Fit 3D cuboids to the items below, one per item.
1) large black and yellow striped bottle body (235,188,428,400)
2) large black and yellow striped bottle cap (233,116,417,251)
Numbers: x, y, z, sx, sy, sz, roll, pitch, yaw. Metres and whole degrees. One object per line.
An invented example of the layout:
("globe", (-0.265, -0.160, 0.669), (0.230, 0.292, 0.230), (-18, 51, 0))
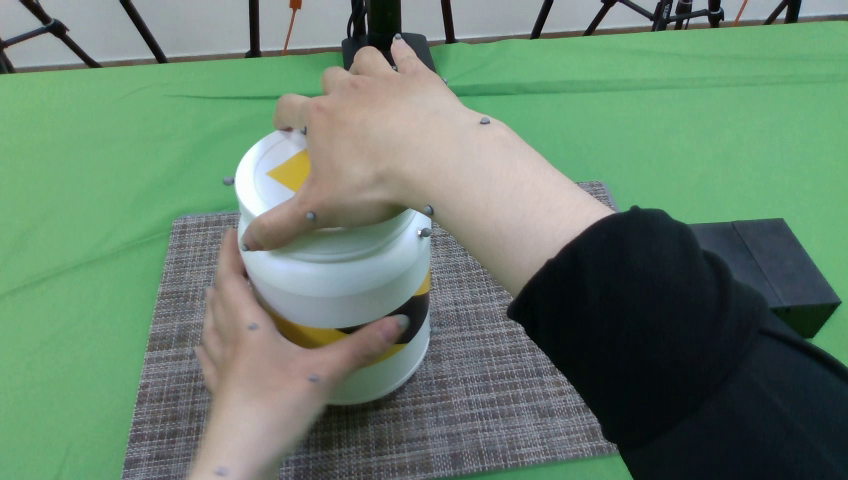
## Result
("large black and yellow striped bottle body", (-0.062, 0.019, 0.447), (0.131, 0.185, 0.129), (0, 46, 0))
("large black and yellow striped bottle cap", (-0.062, -0.040, 0.385), (0.115, 0.019, 0.114), (0, 46, 0))
